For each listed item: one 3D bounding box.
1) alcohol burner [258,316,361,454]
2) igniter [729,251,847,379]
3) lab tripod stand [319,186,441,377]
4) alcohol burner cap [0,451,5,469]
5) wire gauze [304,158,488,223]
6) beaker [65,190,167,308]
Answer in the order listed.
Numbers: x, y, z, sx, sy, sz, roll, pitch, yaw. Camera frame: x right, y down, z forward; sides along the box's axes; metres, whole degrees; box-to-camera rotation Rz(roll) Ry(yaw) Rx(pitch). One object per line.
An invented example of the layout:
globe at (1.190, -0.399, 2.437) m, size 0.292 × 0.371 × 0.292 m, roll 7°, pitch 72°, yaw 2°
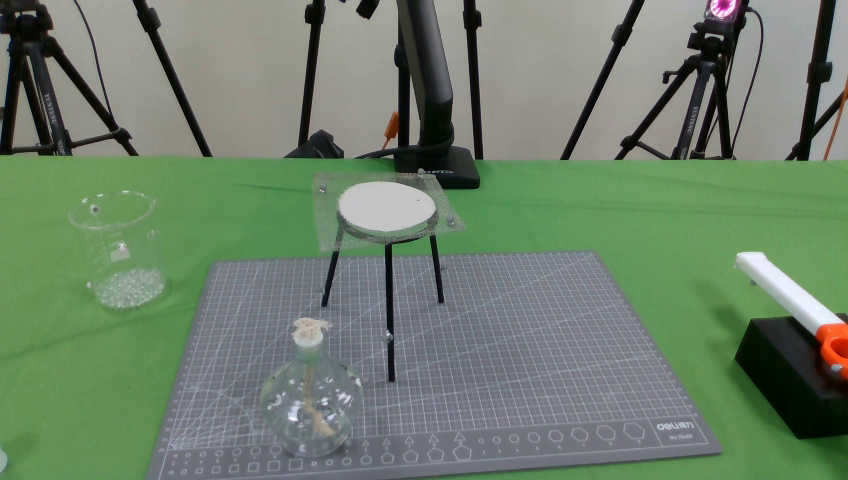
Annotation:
alcohol burner at (-0.086, 0.104, 0.458) m, size 0.078 × 0.120 × 0.077 m, roll 4°, pitch 32°, yaw -2°
igniter at (0.361, 0.086, 0.532) m, size 0.057 × 0.025 × 0.273 m, roll -2°, pitch 30°, yaw -9°
lab tripod stand at (-0.035, 0.030, 0.561) m, size 0.148 × 0.132 × 0.147 m, roll 4°, pitch 34°, yaw -2°
alcohol burner cap at (-0.326, 0.149, 0.434) m, size 0.034 × 0.048 × 0.033 m, roll 4°, pitch 31°, yaw -2°
wire gauze at (-0.026, -0.043, 0.520) m, size 0.125 × 0.011 × 0.120 m, roll -10°, pitch 30°, yaw -32°
beaker at (-0.298, 0.010, 0.602) m, size 0.073 × 0.101 × 0.084 m, roll 29°, pitch 40°, yaw 33°
